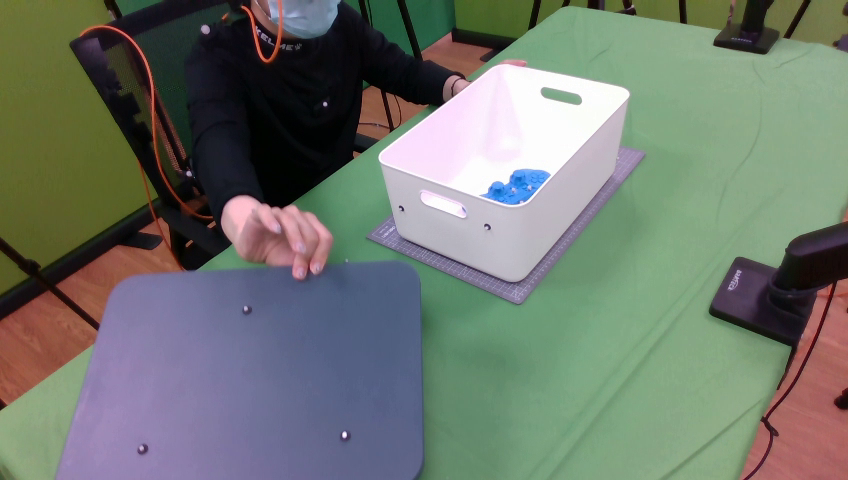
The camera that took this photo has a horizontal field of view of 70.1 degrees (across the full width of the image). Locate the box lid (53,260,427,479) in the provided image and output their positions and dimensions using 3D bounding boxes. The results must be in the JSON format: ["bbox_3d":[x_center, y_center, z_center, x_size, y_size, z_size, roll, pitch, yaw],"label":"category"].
[{"bbox_3d":[-0.181,0.142,0.648,0.372,0.015,0.262,-4,55,2],"label":"box lid"}]

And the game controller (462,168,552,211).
[{"bbox_3d":[0.147,-0.079,1.007,0.156,0.052,0.096,-29,51,-24],"label":"game controller"}]

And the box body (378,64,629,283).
[{"bbox_3d":[0.137,-0.121,0.978,0.252,0.161,0.365,22,49,30],"label":"box body"}]
